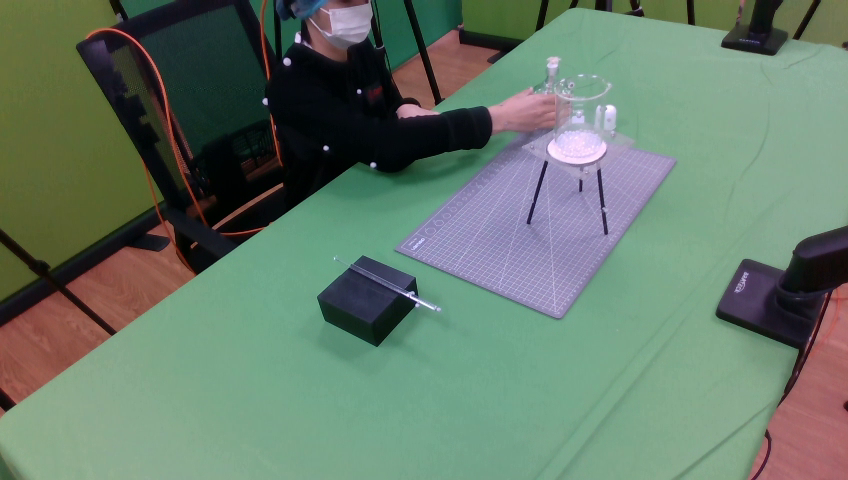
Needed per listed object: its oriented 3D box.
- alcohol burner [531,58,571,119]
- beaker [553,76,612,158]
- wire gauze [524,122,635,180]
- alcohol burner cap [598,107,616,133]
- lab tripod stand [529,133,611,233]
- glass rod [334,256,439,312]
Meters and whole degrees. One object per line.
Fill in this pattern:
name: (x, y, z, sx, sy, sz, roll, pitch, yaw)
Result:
alcohol burner: (0.249, -0.299, 1.186, 0.078, 0.119, 0.077, -4, 40, 3)
beaker: (0.230, -0.178, 0.882, 0.084, 0.101, 0.073, -9, 41, 1)
wire gauze: (0.233, -0.142, 0.913, 0.122, 0.011, 0.124, -31, 42, -26)
alcohol burner cap: (0.361, -0.238, 1.189, 0.034, 0.048, 0.033, -4, 40, 4)
lab tripod stand: (0.236, -0.089, 0.953, 0.148, 0.132, 0.147, -5, 42, 5)
glass rod: (-0.058, 0.060, 0.850, 0.198, 0.008, 0.008, 24, 49, 33)
